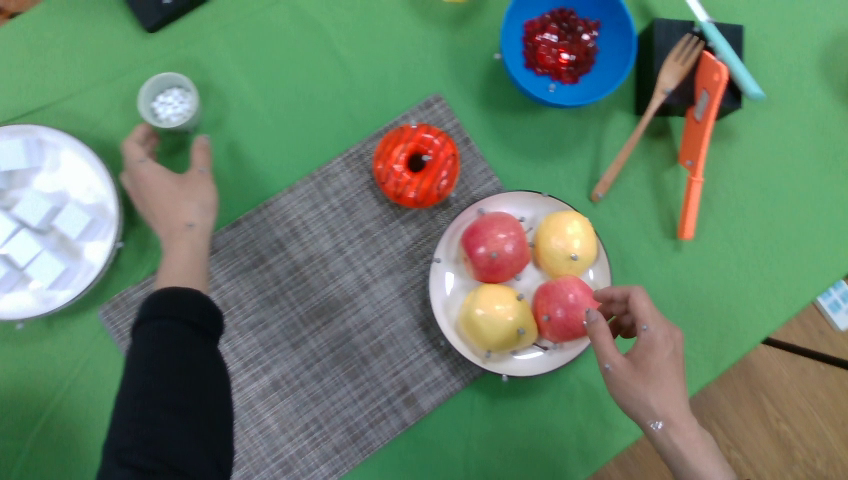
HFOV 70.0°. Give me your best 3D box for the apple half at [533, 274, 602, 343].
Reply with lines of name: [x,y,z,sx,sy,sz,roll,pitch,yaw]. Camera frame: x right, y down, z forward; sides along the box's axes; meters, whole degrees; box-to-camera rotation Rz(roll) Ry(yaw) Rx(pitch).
apple half: [0.154,0.077,0.667,0.081,0.033,0.081,1,94,18]

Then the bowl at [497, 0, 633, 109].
bowl: [0.151,-0.216,0.693,0.151,0.077,0.151,0,86,-5]

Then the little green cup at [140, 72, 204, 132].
little green cup: [-0.276,-0.150,0.671,0.061,0.038,0.061,0,85,-3]

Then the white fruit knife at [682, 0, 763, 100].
white fruit knife: [0.321,-0.245,0.692,0.027,0.016,0.207,-31,86,-35]

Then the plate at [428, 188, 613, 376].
plate: [0.106,0.047,0.683,0.209,0.038,0.208,1,85,-5]

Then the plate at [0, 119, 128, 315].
plate: [-0.422,-0.024,0.649,0.208,0.039,0.207,0,85,-5]

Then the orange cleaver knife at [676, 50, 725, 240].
orange cleaver knife: [0.309,-0.106,0.695,0.012,0.076,0.212,2,110,0]

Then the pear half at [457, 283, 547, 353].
pear half: [0.095,0.094,0.665,0.110,0.056,0.076,30,87,-7]

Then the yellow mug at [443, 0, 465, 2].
yellow mug: [0.021,-0.344,0.699,0.131,0.064,0.100,24,84,-1]

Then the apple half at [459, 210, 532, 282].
apple half: [0.080,0.007,0.667,0.075,0.053,0.081,-16,90,-5]

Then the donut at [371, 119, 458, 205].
donut: [-0.010,-0.087,0.682,0.099,0.048,0.099,0,87,-2]

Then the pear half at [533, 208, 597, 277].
pear half: [0.156,0.009,0.676,0.070,0.031,0.088,-1,98,20]

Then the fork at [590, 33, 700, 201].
fork: [0.246,-0.135,0.689,0.028,0.018,0.208,25,104,-10]
